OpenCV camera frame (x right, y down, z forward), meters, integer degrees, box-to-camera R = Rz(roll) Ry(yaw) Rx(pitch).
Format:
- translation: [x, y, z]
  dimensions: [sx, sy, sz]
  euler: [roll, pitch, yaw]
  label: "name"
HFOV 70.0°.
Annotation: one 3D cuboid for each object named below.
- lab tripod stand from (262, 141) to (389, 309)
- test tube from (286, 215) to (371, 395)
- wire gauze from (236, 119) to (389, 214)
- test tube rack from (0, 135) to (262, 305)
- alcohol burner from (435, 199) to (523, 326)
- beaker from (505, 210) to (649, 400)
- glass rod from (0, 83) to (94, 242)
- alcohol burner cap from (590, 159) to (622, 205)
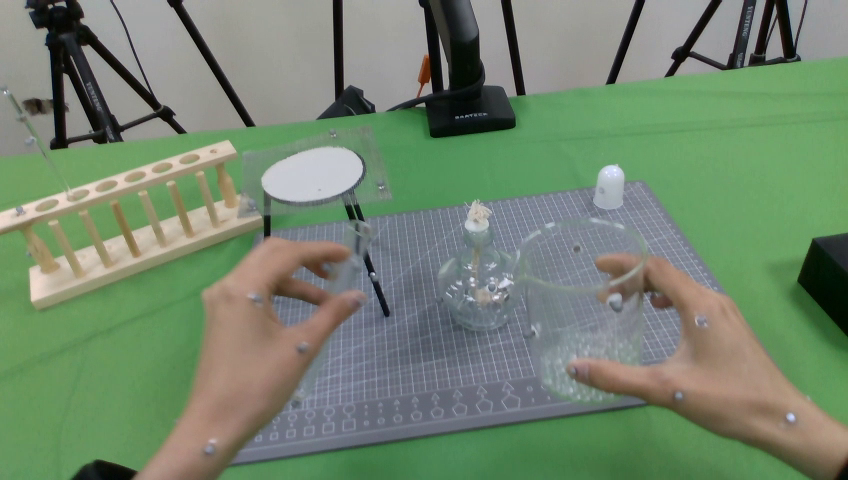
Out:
- translation: [-0.093, -0.012, 0.563]
  dimensions: [0.148, 0.133, 0.147]
  euler: [-4, 41, 4]
  label: "lab tripod stand"
- translation: [-0.066, 0.048, 0.397]
  dimensions: [0.017, 0.151, 0.017]
  euler: [19, 29, -11]
  label: "test tube"
- translation: [-0.100, -0.064, 0.521]
  dimensions: [0.125, 0.011, 0.120]
  euler: [-12, 39, -5]
  label: "wire gauze"
- translation: [-0.311, -0.027, 0.655]
  dimensions: [0.243, 0.086, 0.066]
  euler: [-23, 42, -20]
  label: "test tube rack"
- translation: [0.047, 0.016, 0.524]
  dimensions: [0.078, 0.120, 0.077]
  euler: [-4, 37, 4]
  label: "alcohol burner"
- translation: [0.097, 0.044, 0.380]
  dimensions: [0.084, 0.101, 0.073]
  euler: [-15, 32, -3]
  label: "beaker"
- translation: [-0.365, -0.064, 0.602]
  dimensions: [0.008, 0.201, 0.008]
  euler: [-3, 43, 3]
  label: "glass rod"
- translation: [0.200, -0.066, 0.662]
  dimensions: [0.034, 0.048, 0.033]
  euler: [-4, 39, 3]
  label: "alcohol burner cap"
